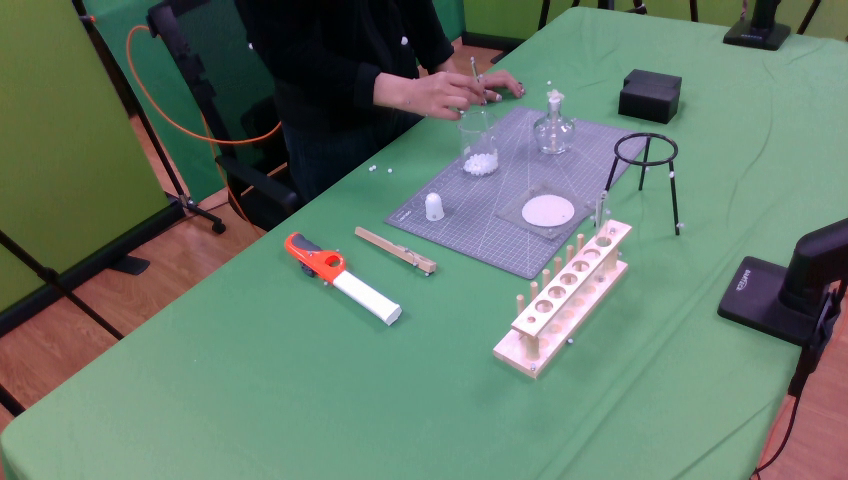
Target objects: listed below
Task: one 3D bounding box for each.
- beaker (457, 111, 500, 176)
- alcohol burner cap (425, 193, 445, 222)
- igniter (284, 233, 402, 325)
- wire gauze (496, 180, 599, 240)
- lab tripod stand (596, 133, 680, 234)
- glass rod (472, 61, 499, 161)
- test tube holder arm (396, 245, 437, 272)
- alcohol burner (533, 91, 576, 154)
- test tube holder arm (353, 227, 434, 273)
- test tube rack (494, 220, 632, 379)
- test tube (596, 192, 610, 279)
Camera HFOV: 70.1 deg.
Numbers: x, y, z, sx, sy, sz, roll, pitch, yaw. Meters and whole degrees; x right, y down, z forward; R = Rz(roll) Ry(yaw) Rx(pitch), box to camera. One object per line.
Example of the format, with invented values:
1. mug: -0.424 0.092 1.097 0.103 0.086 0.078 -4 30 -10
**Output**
1. beaker: 0.104 -0.175 1.108 0.073 0.101 0.084 16 45 27
2. alcohol burner cap: 0.018 -0.058 1.030 0.034 0.048 0.033 -5 40 5
3. igniter: -0.136 0.054 0.942 0.274 0.025 0.057 30 63 37
4. wire gauze: 0.206 -0.050 1.012 0.125 0.011 0.120 -34 45 -26
5. lab tripod stand: 0.338 -0.091 0.940 0.148 0.132 0.147 -7 39 6
6. glass rod: 0.111 -0.224 1.074 0.008 0.201 0.008 -13 37 10
7. test tube holder arm: -0.016 0.029 0.957 0.087 0.015 0.010 25 16 35
8. alcohol burner: 0.243 -0.221 1.124 0.078 0.119 0.077 -4 39 4
9. test tube holder arm: -0.053 0.014 0.978 0.177 0.015 0.013 25 16 34
10. test tube rack: 0.191 0.068 0.818 0.066 0.085 0.243 25 51 35
11. test tube: 0.240 -0.002 0.814 0.017 0.151 0.017 -7 42 7
